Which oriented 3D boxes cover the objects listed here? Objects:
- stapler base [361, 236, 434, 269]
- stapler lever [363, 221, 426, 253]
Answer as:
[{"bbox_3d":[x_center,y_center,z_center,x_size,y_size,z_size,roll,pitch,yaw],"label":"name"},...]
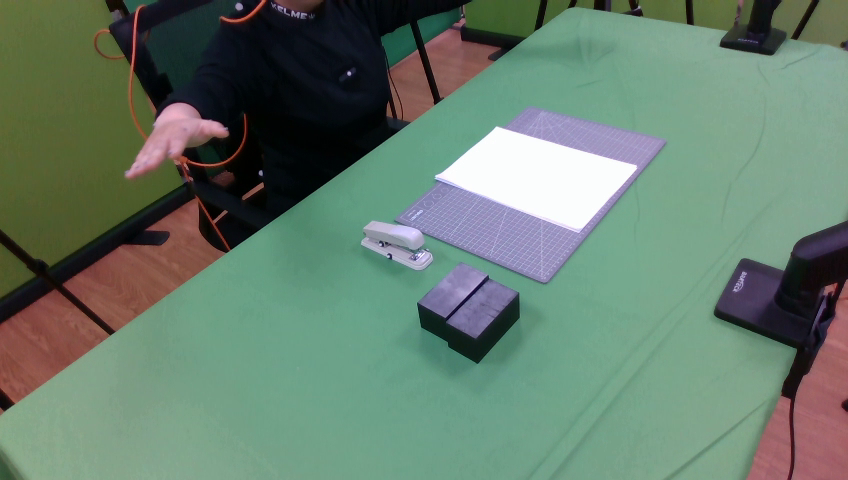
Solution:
[{"bbox_3d":[-0.044,0.009,0.974,0.129,0.024,0.041,21,46,32],"label":"stapler base"},{"bbox_3d":[-0.048,-0.011,0.958,0.117,0.040,0.027,21,46,32],"label":"stapler lever"}]
